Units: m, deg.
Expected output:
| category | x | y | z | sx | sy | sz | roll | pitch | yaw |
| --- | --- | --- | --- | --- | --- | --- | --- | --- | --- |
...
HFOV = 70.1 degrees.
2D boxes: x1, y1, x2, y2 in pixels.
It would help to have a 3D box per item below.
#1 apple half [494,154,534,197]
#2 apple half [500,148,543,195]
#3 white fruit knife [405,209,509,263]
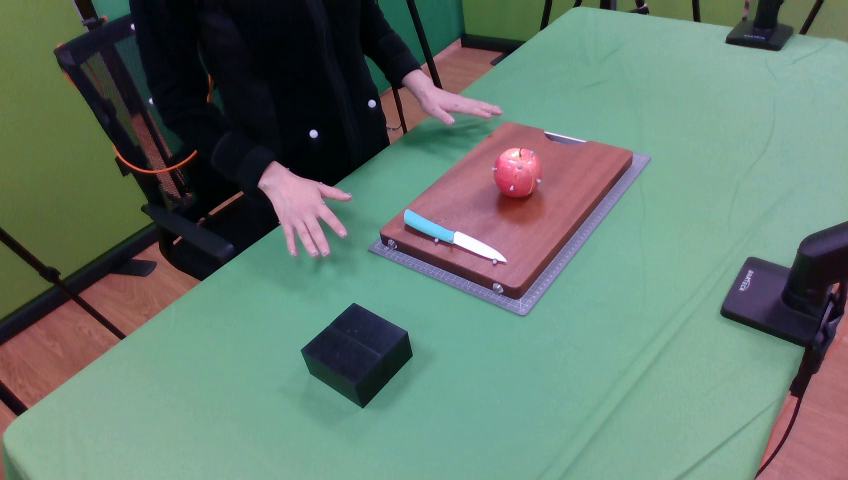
| category | x | y | z | sx | sy | sz | roll | pitch | yaw |
| --- | --- | --- | --- | --- | --- | --- | --- | --- | --- |
| apple half | 0.140 | -0.098 | 0.989 | 0.080 | 0.081 | 0.033 | 27 | 50 | 35 |
| apple half | 0.166 | -0.118 | 1.010 | 0.080 | 0.075 | 0.053 | 23 | 46 | 38 |
| white fruit knife | 0.046 | -0.005 | 0.944 | 0.205 | 0.016 | 0.027 | 24 | 64 | 32 |
